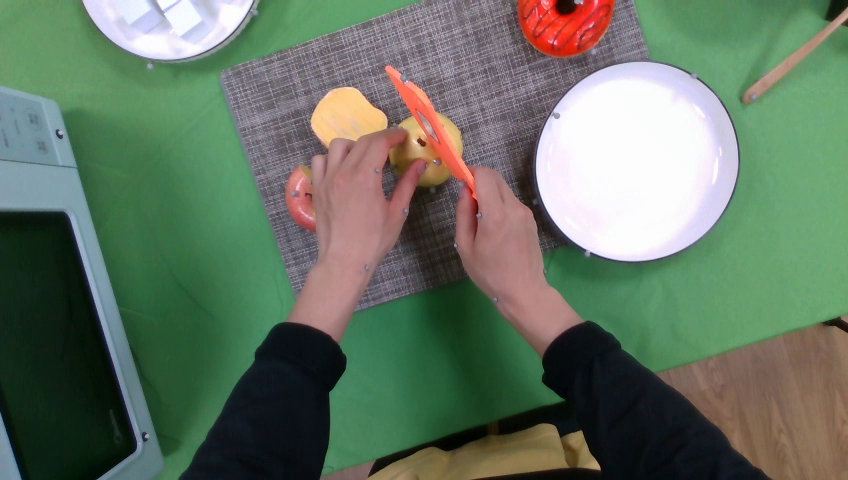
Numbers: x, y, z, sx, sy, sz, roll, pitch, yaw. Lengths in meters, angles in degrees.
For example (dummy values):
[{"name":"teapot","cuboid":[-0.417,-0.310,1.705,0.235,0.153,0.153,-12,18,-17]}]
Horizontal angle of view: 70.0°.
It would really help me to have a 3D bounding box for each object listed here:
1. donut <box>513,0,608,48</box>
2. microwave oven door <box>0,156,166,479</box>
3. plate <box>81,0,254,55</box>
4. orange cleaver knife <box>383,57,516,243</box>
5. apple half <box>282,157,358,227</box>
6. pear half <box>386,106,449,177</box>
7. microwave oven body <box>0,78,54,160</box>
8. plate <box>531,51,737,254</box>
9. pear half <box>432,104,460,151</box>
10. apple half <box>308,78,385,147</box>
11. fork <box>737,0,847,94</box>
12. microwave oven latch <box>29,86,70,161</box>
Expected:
[{"name":"donut","cuboid":[0.141,-0.249,0.627,0.099,0.048,0.099,1,96,6]},{"name":"microwave oven door","cuboid":[-0.365,0.094,0.570,0.039,0.243,0.356,-16,93,4]},{"name":"plate","cuboid":[-0.272,-0.302,0.653,0.207,0.039,0.208,0,94,3]},{"name":"orange cleaver knife","cuboid":[0.026,-0.078,0.564,0.012,0.076,0.213,-39,125,-2]},{"name":"apple half","cuboid":[-0.116,-0.044,0.644,0.081,0.074,0.053,36,100,-4]},{"name":"pear half","cuboid":[-0.011,-0.097,0.617,0.056,0.110,0.076,-38,86,3]},{"name":"microwave oven body","cuboid":[-0.516,0.091,0.584,0.326,0.260,0.442,-15,94,4]},{"name":"plate","cuboid":[0.217,-0.090,0.639,0.209,0.038,0.209,0,95,3]},{"name":"pear half","cuboid":[0.019,-0.115,0.623,0.031,0.088,0.070,-36,85,3]},{"name":"apple half","cuboid":[-0.085,-0.129,0.651,0.081,0.033,0.081,3,72,-8]},{"name":"fork","cuboid":[0.400,-0.223,0.597,0.028,0.018,0.207,40,116,-8]},{"name":"microwave oven latch","cuboid":[-0.414,-0.124,0.657,0.030,0.029,0.079,-14,94,4]}]
